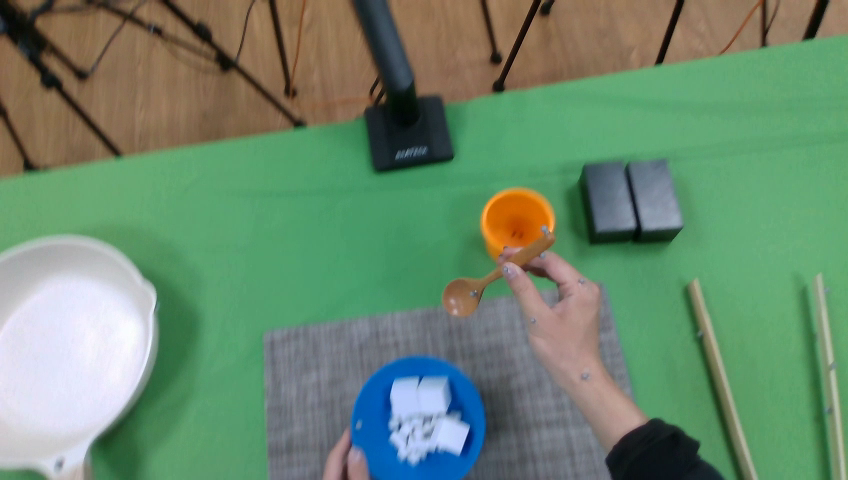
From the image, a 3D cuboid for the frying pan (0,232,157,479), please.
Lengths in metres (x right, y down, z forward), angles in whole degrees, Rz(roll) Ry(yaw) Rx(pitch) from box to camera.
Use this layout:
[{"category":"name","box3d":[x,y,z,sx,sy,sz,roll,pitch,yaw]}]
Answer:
[{"category":"frying pan","box3d":[-0.435,0.216,0.723,0.307,0.103,0.483,-24,61,-4]}]

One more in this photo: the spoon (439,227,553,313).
[{"category":"spoon","box3d":[0.065,0.032,0.587,0.022,0.194,0.041,-25,81,-31]}]

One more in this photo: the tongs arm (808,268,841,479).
[{"category":"tongs arm","box3d":[0.449,0.218,0.698,0.050,0.027,0.382,2,71,7]}]

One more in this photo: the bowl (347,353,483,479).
[{"category":"bowl","box3d":[-0.008,0.212,0.704,0.151,0.077,0.150,-1,70,4]}]

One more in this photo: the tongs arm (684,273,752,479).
[{"category":"tongs arm","box3d":[0.369,0.222,0.708,0.028,0.028,0.384,-9,69,-1]}]
